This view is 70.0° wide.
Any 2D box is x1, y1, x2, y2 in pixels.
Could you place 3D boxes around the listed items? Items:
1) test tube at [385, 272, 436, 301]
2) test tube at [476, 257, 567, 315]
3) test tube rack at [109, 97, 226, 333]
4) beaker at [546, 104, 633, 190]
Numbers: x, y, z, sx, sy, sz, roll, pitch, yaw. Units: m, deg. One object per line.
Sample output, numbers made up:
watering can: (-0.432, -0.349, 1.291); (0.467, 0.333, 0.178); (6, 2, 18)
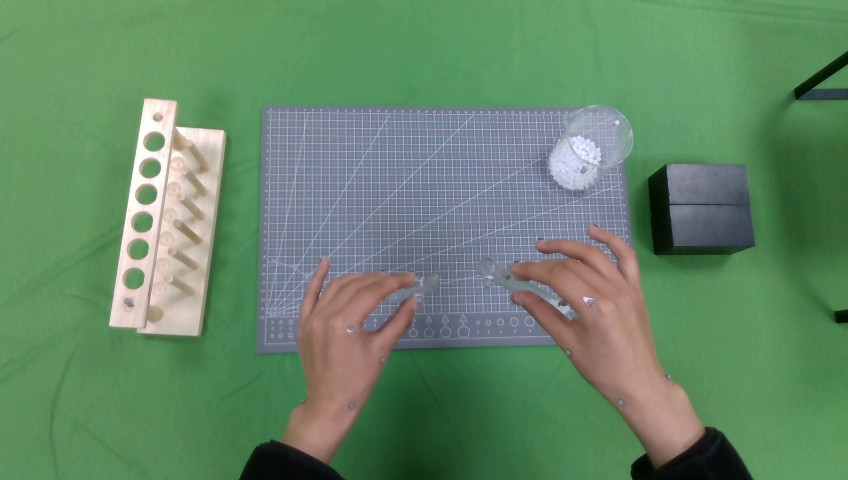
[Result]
test tube: (-0.015, 0.046, 0.573); (0.017, 0.150, 0.017); (2, 80, -15)
test tube: (0.090, 0.043, 0.528); (0.017, 0.152, 0.017); (-15, 63, 32)
test tube rack: (-0.274, -0.024, 0.662); (0.067, 0.085, 0.241); (4, 78, -4)
beaker: (0.187, -0.106, 0.713); (0.084, 0.100, 0.074); (30, 76, 4)
